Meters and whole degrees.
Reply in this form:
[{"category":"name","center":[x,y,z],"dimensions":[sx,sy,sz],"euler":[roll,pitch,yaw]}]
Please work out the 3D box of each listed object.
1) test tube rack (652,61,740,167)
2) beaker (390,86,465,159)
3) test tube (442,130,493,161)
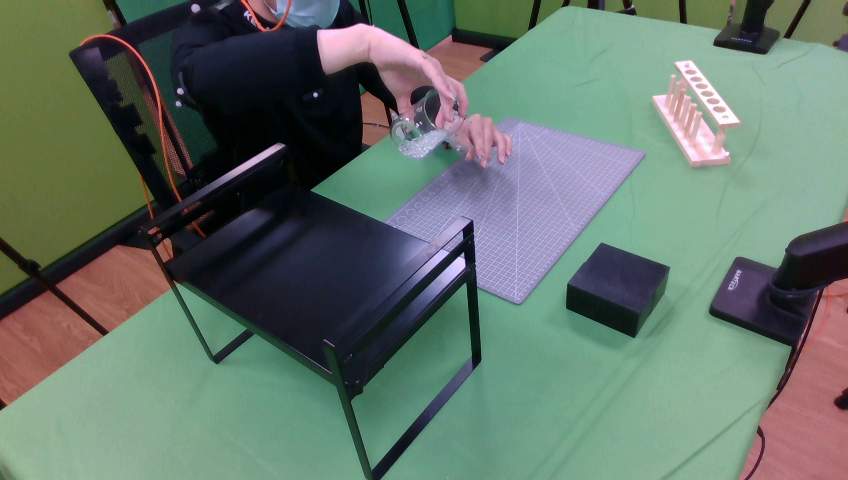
[{"category":"test tube rack","center":[0.499,-0.242,1.130],"dimensions":[0.067,0.085,0.241],"euler":[-5,41,4]},{"category":"beaker","center":[0.004,-0.169,0.891],"dimensions":[0.073,0.084,0.100],"euler":[16,43,30]},{"category":"test tube","center":[0.076,-0.155,1.003],"dimensions":[0.017,0.017,0.151],"euler":[28,8,34]}]
